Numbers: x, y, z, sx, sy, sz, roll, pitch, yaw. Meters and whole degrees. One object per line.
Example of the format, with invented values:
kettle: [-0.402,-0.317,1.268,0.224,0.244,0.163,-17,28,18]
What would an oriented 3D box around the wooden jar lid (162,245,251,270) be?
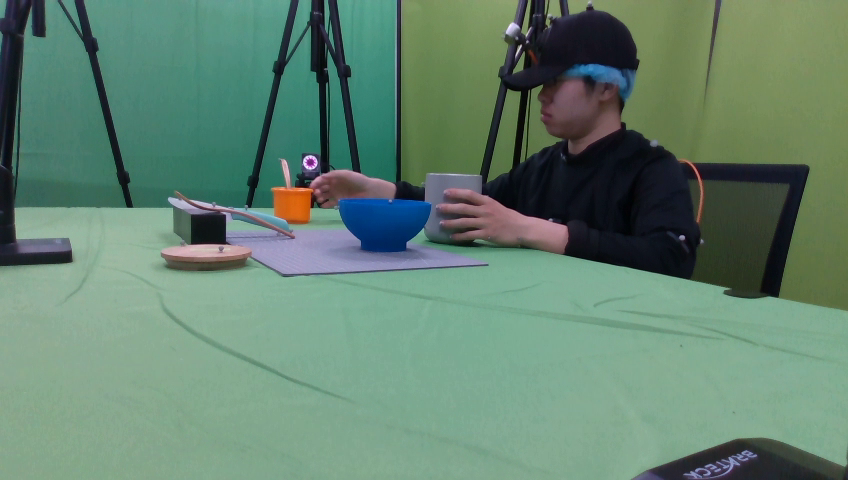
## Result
wooden jar lid: [-0.278,0.022,0.777,0.108,0.020,0.108,2,6,0]

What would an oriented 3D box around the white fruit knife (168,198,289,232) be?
white fruit knife: [-0.329,-0.044,1.036,0.208,0.027,0.016,14,-1,-32]

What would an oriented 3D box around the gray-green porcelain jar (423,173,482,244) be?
gray-green porcelain jar: [0.051,-0.059,1.116,0.106,0.126,0.106,2,8,0]

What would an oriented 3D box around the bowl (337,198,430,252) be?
bowl: [-0.066,-0.024,0.967,0.151,0.077,0.151,3,7,0]

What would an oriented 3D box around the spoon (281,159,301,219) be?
spoon: [-0.307,-0.117,1.368,0.042,0.193,0.021,1,-38,-23]

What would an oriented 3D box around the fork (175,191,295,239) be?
fork: [-0.306,-0.039,0.993,0.208,0.018,0.028,19,-8,-34]
